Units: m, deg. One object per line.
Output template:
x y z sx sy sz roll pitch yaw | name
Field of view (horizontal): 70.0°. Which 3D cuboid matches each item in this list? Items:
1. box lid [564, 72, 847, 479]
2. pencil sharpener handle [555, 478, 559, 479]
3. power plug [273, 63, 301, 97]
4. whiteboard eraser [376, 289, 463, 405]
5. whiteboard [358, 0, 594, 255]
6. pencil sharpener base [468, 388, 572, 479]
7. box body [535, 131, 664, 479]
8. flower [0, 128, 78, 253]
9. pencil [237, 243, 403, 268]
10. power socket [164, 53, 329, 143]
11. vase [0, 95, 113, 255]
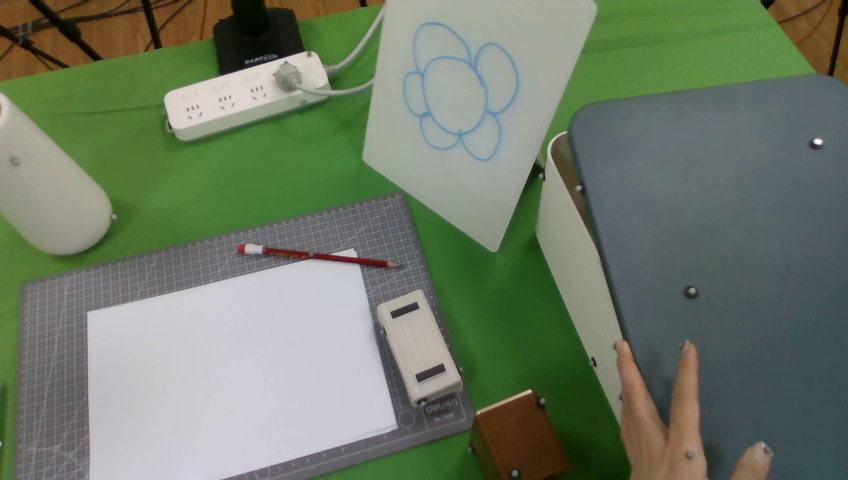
0.277 0.017 0.485 0.263 0.015 0.368 -8 62 -1 | box lid
0.105 0.225 0.515 0.036 0.068 0.030 -24 63 -2 | pencil sharpener handle
-0.176 -0.196 0.783 0.035 0.053 0.072 -11 63 -5 | power plug
-0.006 0.110 0.629 0.056 0.042 0.111 -19 62 -12 | whiteboard eraser
0.070 -0.177 0.675 0.216 0.307 0.144 37 48 20 | whiteboard
0.084 0.191 0.548 0.061 0.108 0.076 -19 62 -10 | pencil sharpener base
0.285 0.055 0.591 0.254 0.161 0.360 -15 62 -8 | box body
-0.419 -0.122 0.581 0.038 0.365 0.043 -25 45 -21 | flower
-0.120 0.019 0.700 0.194 0.012 0.012 7 61 2 | pencil
-0.234 -0.191 0.807 0.227 0.033 0.071 -20 63 -10 | power socket
-0.419 -0.065 0.643 0.098 0.201 0.097 -1 60 2 | vase
